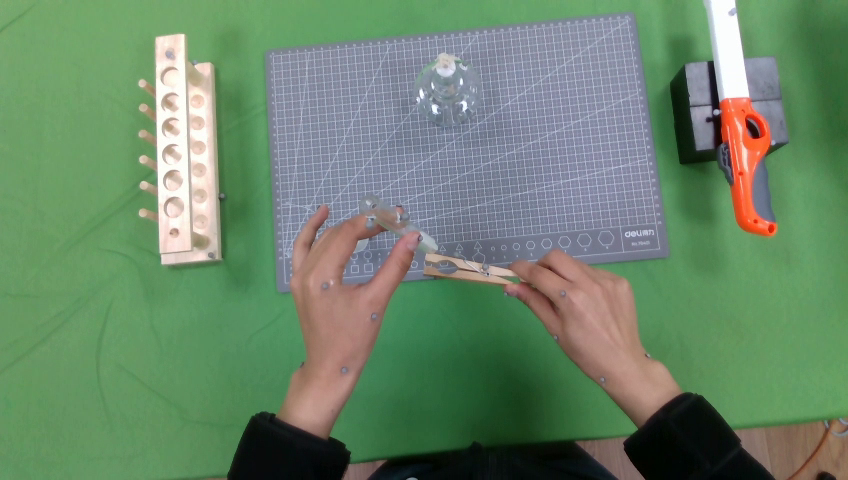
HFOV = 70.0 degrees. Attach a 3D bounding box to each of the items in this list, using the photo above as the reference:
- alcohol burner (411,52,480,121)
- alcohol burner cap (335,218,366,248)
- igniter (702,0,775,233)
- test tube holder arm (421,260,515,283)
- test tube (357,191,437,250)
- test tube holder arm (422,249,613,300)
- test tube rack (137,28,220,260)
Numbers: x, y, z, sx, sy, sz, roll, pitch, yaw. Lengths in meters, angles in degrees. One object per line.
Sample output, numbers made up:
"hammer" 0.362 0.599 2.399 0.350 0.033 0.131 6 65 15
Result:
"alcohol burner" 0.023 -0.176 0.667 0.078 0.119 0.077 -1 82 5
"alcohol burner cap" -0.086 -0.010 0.685 0.034 0.048 0.033 0 81 1
"igniter" 0.333 -0.142 0.646 0.057 0.025 0.275 -3 79 0
"test tube holder arm" 0.041 0.029 0.561 0.088 0.015 0.010 7 82 1
"test tube" -0.016 -0.012 0.468 0.017 0.151 0.017 -3 78 17
"test tube holder arm" 0.086 0.032 0.561 0.178 0.015 0.013 11 82 2
"test tube rack" -0.284 -0.104 0.688 0.067 0.085 0.241 -5 82 2
